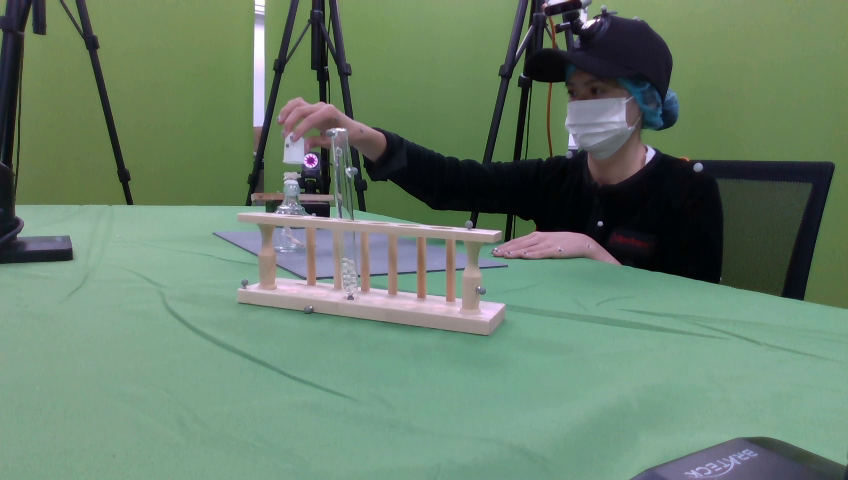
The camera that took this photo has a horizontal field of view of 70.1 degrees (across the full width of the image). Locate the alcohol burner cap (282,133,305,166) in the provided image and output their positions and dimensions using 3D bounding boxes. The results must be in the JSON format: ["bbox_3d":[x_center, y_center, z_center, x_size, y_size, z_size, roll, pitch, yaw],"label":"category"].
[{"bbox_3d":[-0.191,-0.133,0.883,0.034,0.048,0.034,-1,-1,0],"label":"alcohol burner cap"}]

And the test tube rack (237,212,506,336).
[{"bbox_3d":[-0.049,0.024,0.552,0.242,0.085,0.067,5,8,18],"label":"test tube rack"}]

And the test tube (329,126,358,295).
[{"bbox_3d":[-0.071,-0.025,0.535,0.017,0.150,0.017,-3,8,1],"label":"test tube"}]

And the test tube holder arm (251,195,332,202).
[{"bbox_3d":[-0.266,-0.085,1.235,0.179,0.015,0.013,-3,2,-41],"label":"test tube holder arm"}]

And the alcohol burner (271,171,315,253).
[{"bbox_3d":[-0.196,-0.041,0.884,0.078,0.119,0.078,3,5,0],"label":"alcohol burner"}]

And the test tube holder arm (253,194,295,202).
[{"bbox_3d":[-0.297,-0.084,1.201,0.088,0.015,0.010,-3,2,-41],"label":"test tube holder arm"}]
